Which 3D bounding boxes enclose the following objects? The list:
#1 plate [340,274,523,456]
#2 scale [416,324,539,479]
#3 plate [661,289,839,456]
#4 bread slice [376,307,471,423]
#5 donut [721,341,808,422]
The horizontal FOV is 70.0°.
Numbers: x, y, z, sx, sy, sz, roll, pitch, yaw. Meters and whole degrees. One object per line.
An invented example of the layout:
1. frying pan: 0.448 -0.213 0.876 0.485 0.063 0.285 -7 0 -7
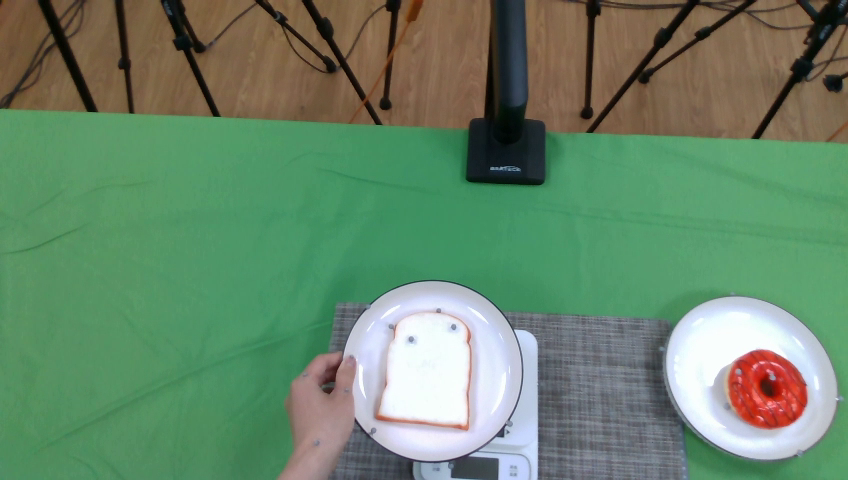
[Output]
1. plate: 0.009 0.141 0.699 0.209 0.038 0.207 -1 66 2
2. scale: 0.069 0.199 0.756 0.148 0.032 0.199 3 65 4
3. plate: 0.400 0.165 0.760 0.207 0.039 0.206 -1 64 2
4. bread slice: 0.003 0.141 0.703 0.105 0.019 0.130 4 67 3
5. donut: 0.416 0.174 0.742 0.099 0.048 0.098 0 68 1
